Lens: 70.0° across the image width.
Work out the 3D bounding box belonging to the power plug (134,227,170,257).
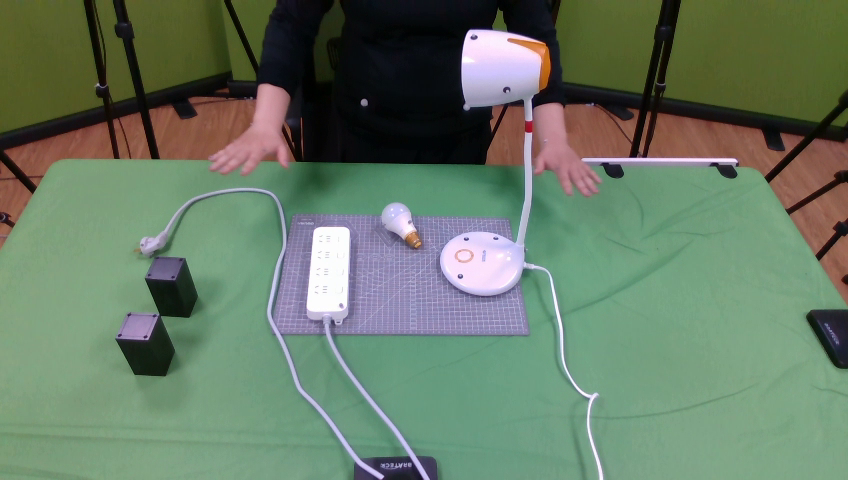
[{"bbox_3d":[-0.515,0.006,1.152,0.052,0.035,0.072,-7,23,6],"label":"power plug"}]

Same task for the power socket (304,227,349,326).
[{"bbox_3d":[-0.177,0.059,1.115,0.072,0.033,0.225,-1,46,-4],"label":"power socket"}]

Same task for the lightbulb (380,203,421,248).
[{"bbox_3d":[-0.043,-0.026,1.197,0.059,0.060,0.107,-29,69,-28],"label":"lightbulb"}]

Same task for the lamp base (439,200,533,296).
[{"bbox_3d":[0.126,-0.011,1.103,0.179,0.181,0.159,2,46,-6],"label":"lamp base"}]

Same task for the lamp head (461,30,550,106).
[{"bbox_3d":[0.122,-0.250,0.892,0.123,0.113,0.112,8,45,13],"label":"lamp head"}]
